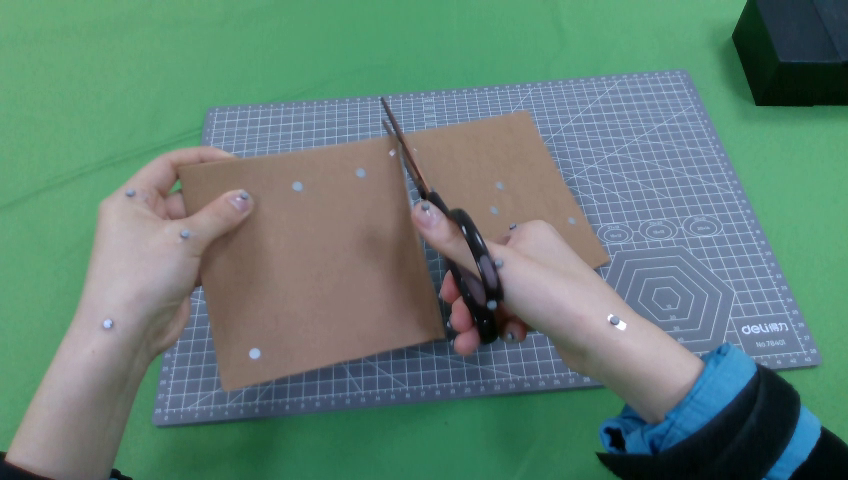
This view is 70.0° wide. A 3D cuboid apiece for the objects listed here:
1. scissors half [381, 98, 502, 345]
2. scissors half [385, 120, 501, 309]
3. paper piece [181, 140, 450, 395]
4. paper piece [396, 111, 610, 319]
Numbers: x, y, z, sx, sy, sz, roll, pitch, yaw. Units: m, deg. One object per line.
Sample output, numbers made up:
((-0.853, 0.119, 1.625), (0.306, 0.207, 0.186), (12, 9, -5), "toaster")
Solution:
((0.007, -0.016, 0.379), (0.013, 0.040, 0.174), (-23, 79, -5), "scissors half")
((0.004, -0.027, 0.358), (0.013, 0.040, 0.173), (-21, 44, -9), "scissors half")
((-0.066, 0.011, 0.370), (0.138, 0.009, 0.135), (-11, 77, -11), "paper piece")
((0.062, -0.025, 0.423), (0.136, 0.004, 0.135), (-19, 78, -39), "paper piece")
